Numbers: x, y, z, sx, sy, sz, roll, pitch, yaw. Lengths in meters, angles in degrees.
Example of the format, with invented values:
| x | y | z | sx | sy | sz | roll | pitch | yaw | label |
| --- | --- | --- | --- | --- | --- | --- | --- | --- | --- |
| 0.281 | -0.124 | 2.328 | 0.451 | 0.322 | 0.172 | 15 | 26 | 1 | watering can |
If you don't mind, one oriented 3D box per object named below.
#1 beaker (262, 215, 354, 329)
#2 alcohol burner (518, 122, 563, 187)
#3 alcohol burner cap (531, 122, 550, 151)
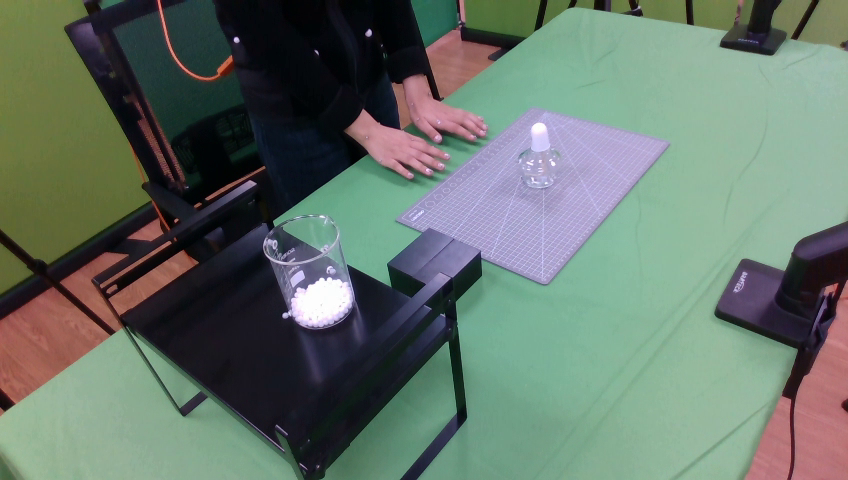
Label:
| x | y | z | sx | sy | sz | roll | pitch | yaw | label |
| --- | --- | --- | --- | --- | --- | --- | --- | --- | --- |
| -0.112 | 0.034 | 0.616 | 0.073 | 0.101 | 0.084 | 13 | 44 | 23 | beaker |
| 0.201 | -0.151 | 1.046 | 0.078 | 0.119 | 0.077 | -6 | 42 | 5 | alcohol burner |
| 0.196 | -0.178 | 1.024 | 0.034 | 0.048 | 0.033 | -8 | 40 | 7 | alcohol burner cap |
